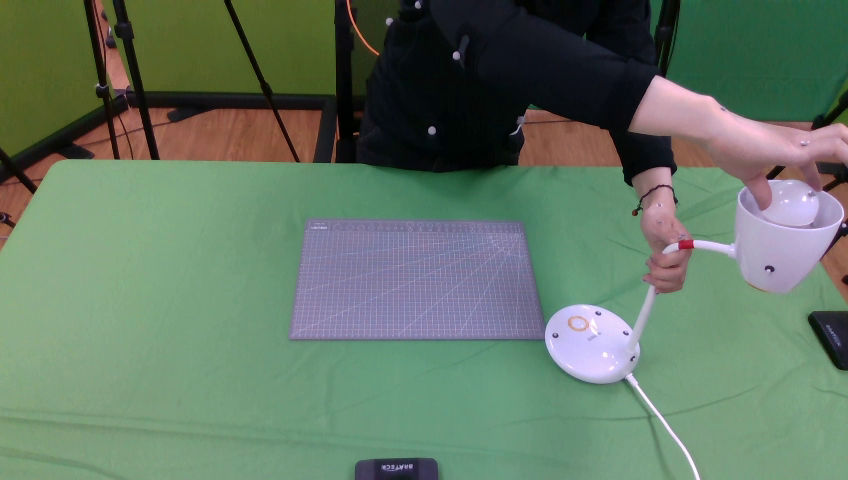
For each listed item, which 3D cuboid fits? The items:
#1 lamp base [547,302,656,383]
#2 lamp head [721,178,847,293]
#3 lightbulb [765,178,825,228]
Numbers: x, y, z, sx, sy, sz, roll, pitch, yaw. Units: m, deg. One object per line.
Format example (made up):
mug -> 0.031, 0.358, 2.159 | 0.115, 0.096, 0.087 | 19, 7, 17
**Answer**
lamp base -> 0.304, 0.127, 0.982 | 0.160, 0.181, 0.178 | -33, 59, -29
lamp head -> 0.422, 0.001, 0.726 | 0.112, 0.123, 0.112 | 0, 38, 1
lightbulb -> 0.434, -0.023, 0.713 | 0.059, 0.108, 0.059 | -13, 33, 9
